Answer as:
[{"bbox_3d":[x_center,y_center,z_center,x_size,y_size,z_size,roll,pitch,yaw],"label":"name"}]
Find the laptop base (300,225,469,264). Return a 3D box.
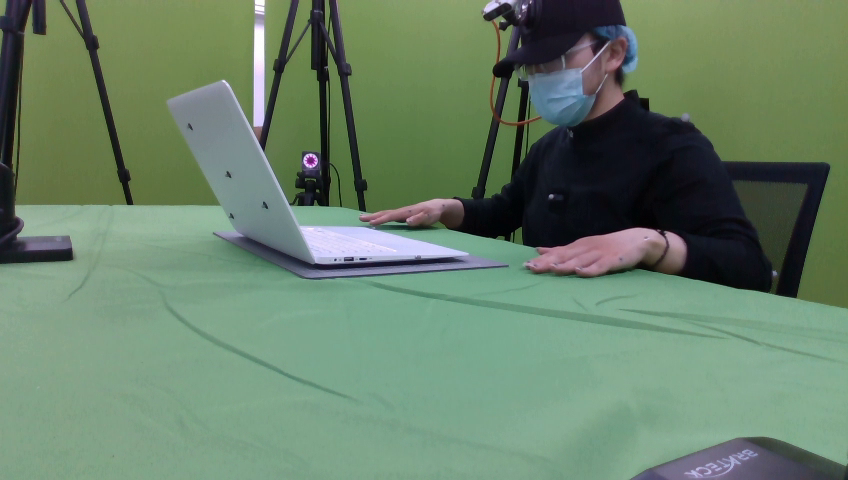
[{"bbox_3d":[-0.124,0.005,0.936,0.237,0.023,0.352,2,6,-33],"label":"laptop base"}]

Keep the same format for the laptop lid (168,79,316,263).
[{"bbox_3d":[-0.264,-0.093,0.831,0.013,0.242,0.355,-33,25,-25],"label":"laptop lid"}]
